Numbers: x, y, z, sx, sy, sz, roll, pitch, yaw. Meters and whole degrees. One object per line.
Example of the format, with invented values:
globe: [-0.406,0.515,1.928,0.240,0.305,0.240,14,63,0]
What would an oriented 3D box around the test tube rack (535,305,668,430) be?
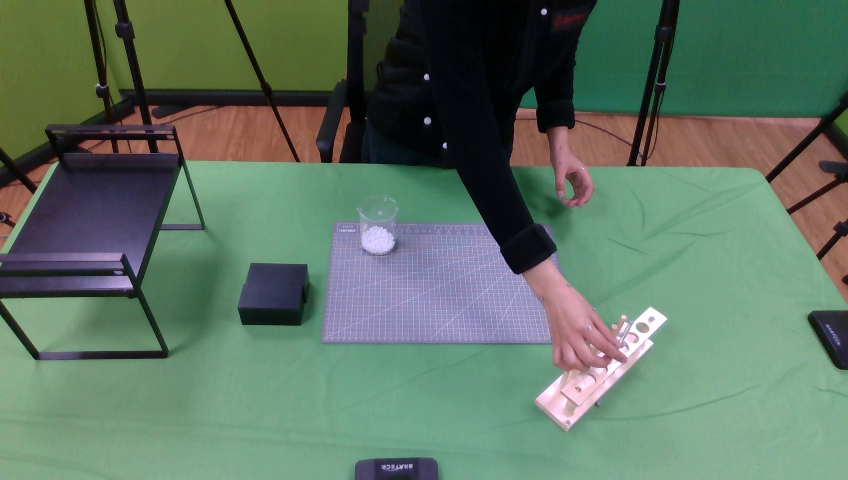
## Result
test tube rack: [0.290,0.193,0.984,0.242,0.085,0.066,-32,57,-30]

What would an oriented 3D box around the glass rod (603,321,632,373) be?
glass rod: [0.287,0.173,0.913,0.008,0.201,0.008,-1,54,1]

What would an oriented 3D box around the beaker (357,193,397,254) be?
beaker: [-0.088,-0.030,1.159,0.074,0.101,0.083,14,46,9]
